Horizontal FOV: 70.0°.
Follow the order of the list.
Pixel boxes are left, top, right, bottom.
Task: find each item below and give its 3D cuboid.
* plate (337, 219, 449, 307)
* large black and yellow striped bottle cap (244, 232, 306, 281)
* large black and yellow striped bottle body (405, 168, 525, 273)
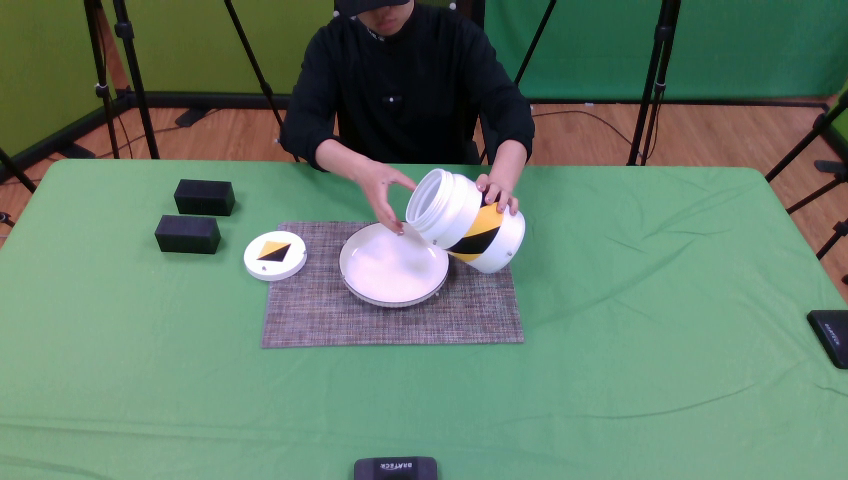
[{"bbox_3d":[-0.057,0.045,1.133,0.208,0.039,0.206,2,46,-2],"label":"plate"},{"bbox_3d":[-0.282,0.030,1.146,0.115,0.019,0.114,-1,45,1],"label":"large black and yellow striped bottle cap"},{"bbox_3d":[0.071,-0.035,1.065,0.185,0.131,0.130,29,41,-23],"label":"large black and yellow striped bottle body"}]
